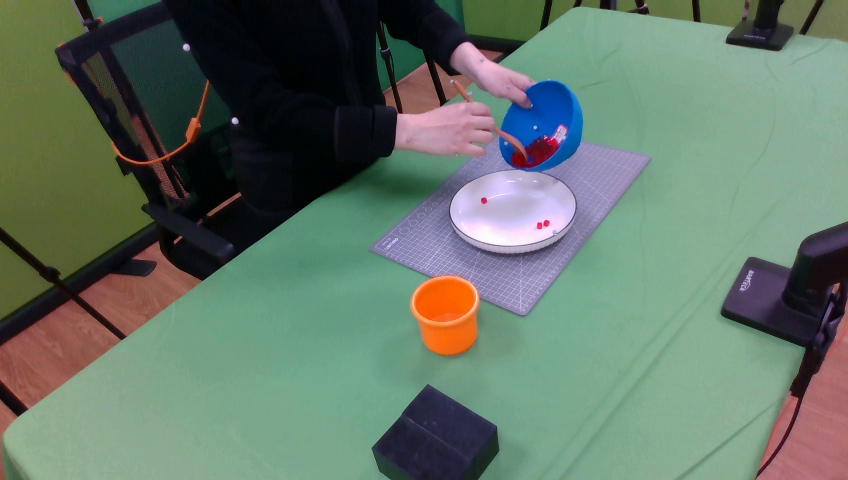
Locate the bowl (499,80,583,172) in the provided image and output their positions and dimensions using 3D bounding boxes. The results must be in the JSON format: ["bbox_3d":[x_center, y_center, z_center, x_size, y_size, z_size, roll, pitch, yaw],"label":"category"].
[{"bbox_3d":[0.205,-0.174,0.984,0.077,0.151,0.150,18,22,-39],"label":"bowl"}]

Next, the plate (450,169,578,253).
[{"bbox_3d":[0.147,-0.044,0.993,0.209,0.038,0.208,-5,40,5],"label":"plate"}]

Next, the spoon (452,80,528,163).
[{"bbox_3d":[0.106,-0.180,0.937,0.021,0.195,0.041,-47,35,12],"label":"spoon"}]
